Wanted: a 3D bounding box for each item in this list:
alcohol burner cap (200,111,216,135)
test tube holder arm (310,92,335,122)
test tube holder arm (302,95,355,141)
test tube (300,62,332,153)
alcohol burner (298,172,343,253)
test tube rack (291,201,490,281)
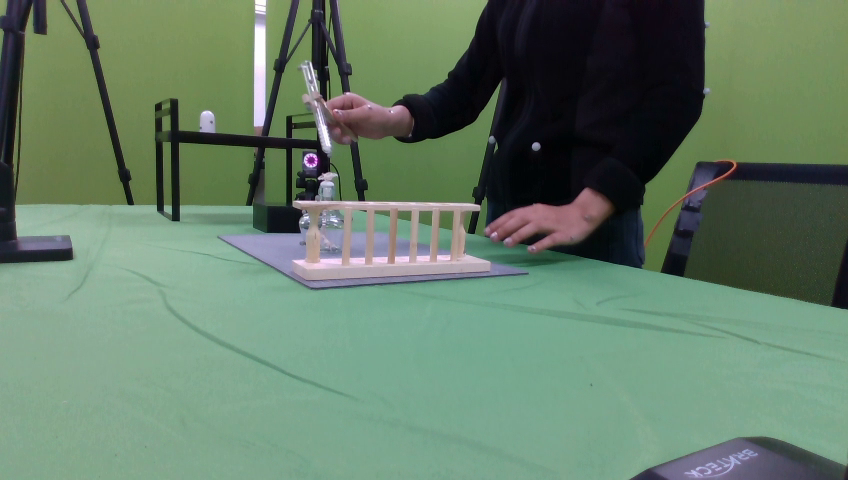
[{"bbox_3d":[-0.448,-0.243,1.255,0.034,0.048,0.034,2,7,0],"label":"alcohol burner cap"},{"bbox_3d":[-0.153,-0.201,0.921,0.010,0.015,0.088,-13,-13,6],"label":"test tube holder arm"},{"bbox_3d":[-0.149,-0.192,0.965,0.013,0.015,0.179,-14,-13,13],"label":"test tube holder arm"},{"bbox_3d":[-0.160,-0.198,0.898,0.017,0.150,0.017,-15,-13,-3],"label":"test tube"},{"bbox_3d":[-0.146,-0.040,0.894,0.078,0.119,0.078,5,7,0],"label":"alcohol burner"},{"bbox_3d":[-0.035,-0.002,0.745,0.243,0.085,0.066,-1,8,-28],"label":"test tube rack"}]
